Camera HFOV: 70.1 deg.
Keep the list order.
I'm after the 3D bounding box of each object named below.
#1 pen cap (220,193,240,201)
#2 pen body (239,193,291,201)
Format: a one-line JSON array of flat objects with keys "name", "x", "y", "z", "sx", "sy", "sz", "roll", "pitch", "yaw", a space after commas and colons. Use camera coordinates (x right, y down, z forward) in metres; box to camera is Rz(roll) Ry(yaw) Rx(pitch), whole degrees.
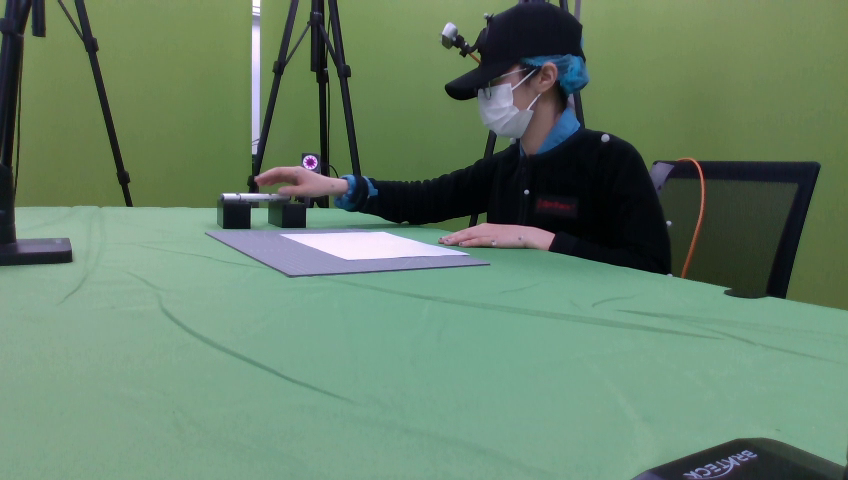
[{"name": "pen cap", "x": -0.383, "y": -0.085, "z": 1.194, "sx": 0.039, "sy": 0.017, "sz": 0.017, "roll": -4, "pitch": 10, "yaw": -44}, {"name": "pen body", "x": -0.337, "y": -0.089, "z": 1.237, "sx": 0.145, "sy": 0.017, "sz": 0.017, "roll": -5, "pitch": 10, "yaw": -43}]
